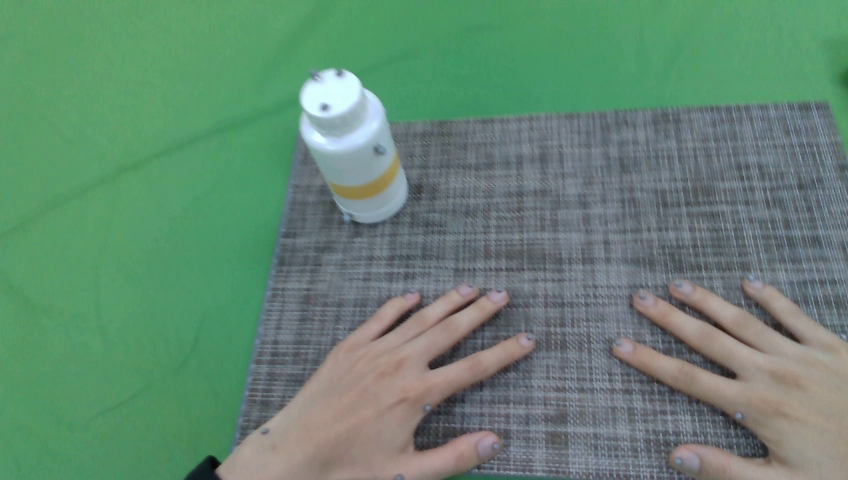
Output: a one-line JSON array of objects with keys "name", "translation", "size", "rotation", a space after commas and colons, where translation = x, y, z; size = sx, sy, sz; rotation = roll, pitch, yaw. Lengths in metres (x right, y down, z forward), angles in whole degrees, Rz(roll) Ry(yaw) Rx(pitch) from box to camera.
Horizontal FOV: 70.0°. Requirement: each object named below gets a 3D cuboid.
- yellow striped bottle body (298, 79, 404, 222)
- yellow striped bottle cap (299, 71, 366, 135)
[{"name": "yellow striped bottle body", "translation": [-0.056, -0.070, 0.467], "size": [0.063, 0.121, 0.062], "rotation": [-4, 60, 8]}, {"name": "yellow striped bottle cap", "translation": [-0.064, -0.096, 0.422], "size": [0.044, 0.019, 0.044], "rotation": [-5, 59, 9]}]
